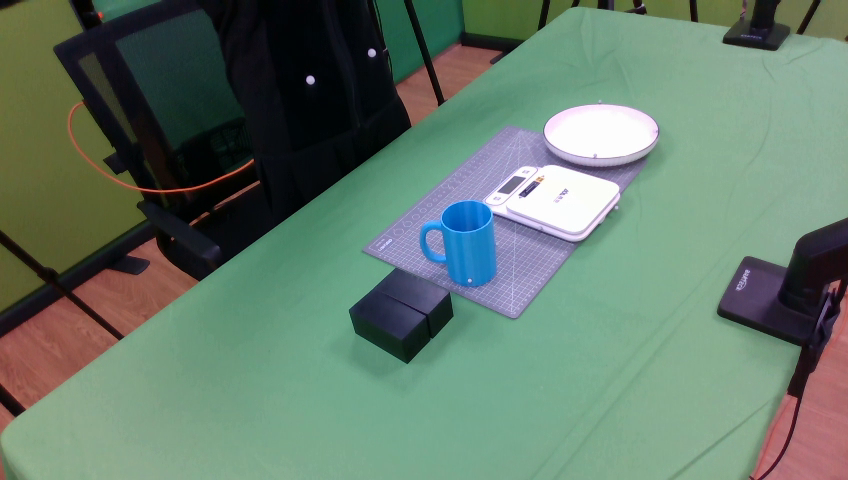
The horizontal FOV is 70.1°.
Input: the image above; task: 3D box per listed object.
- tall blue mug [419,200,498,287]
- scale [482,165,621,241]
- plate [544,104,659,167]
[{"bbox_3d":[0.053,0.010,0.889,0.107,0.108,0.077,-15,41,-7],"label":"tall blue mug"},{"bbox_3d":[0.211,-0.070,1.014,0.199,0.032,0.149,23,49,33],"label":"scale"},{"bbox_3d":[0.328,-0.192,1.131,0.209,0.038,0.208,-4,39,4],"label":"plate"}]
